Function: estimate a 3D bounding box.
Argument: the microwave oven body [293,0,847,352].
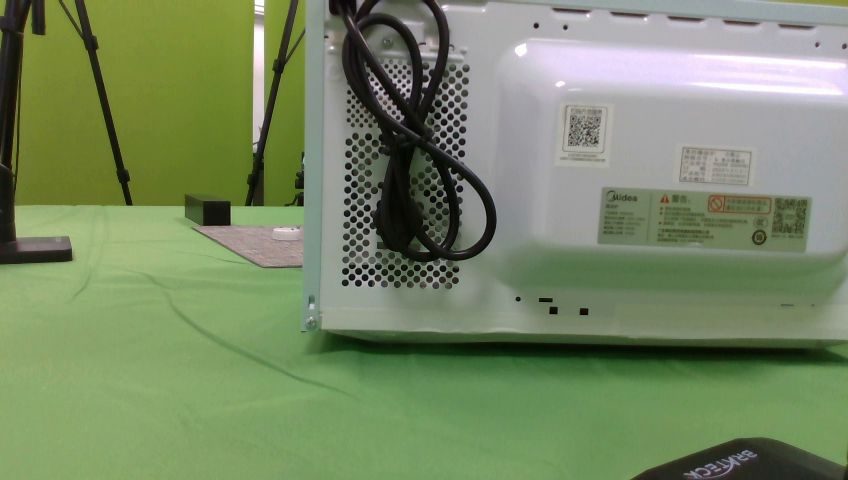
[{"bbox_3d":[0.122,-0.055,0.550,0.442,0.260,0.325,3,7,-5],"label":"microwave oven body"}]

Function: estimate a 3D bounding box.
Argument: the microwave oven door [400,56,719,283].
[{"bbox_3d":[0.155,-0.078,0.698,0.356,0.243,0.039,2,8,-5],"label":"microwave oven door"}]

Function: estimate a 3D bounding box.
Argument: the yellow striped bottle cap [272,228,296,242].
[{"bbox_3d":[-0.232,-0.008,1.012,0.044,0.018,0.044,4,8,0],"label":"yellow striped bottle cap"}]

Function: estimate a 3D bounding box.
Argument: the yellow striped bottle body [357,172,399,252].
[{"bbox_3d":[-0.071,-0.044,0.933,0.063,0.120,0.063,2,8,0],"label":"yellow striped bottle body"}]

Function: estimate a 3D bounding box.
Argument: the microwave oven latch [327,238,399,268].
[{"bbox_3d":[-0.069,0.015,0.694,0.079,0.029,0.030,3,7,-3],"label":"microwave oven latch"}]
